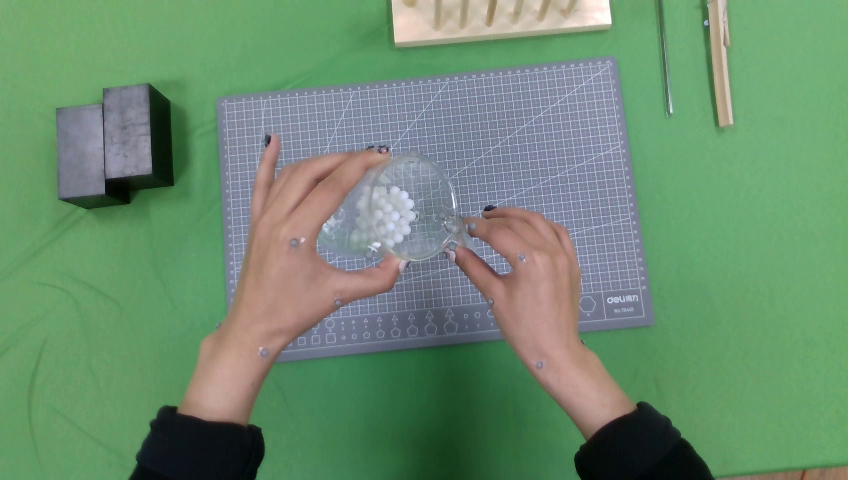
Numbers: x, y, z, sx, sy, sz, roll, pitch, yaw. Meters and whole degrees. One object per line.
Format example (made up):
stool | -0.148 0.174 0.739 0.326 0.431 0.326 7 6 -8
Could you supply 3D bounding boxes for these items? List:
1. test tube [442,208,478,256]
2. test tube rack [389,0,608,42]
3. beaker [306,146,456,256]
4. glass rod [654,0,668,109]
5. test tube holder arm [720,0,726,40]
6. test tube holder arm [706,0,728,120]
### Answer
test tube | 0.032 -0.003 0.511 0.017 0.151 0.017 -2 80 9
test tube rack | 0.081 -0.273 0.650 0.242 0.085 0.066 -5 82 1
beaker | -0.034 -0.025 0.449 0.085 0.099 0.074 21 78 -35
glass rod | 0.263 -0.243 0.680 0.008 0.008 0.199 -1 82 1
test tube holder arm | 0.327 -0.264 0.676 0.010 0.015 0.087 5 82 -27
test tube holder arm | 0.322 -0.220 0.668 0.013 0.015 0.178 4 82 -27
